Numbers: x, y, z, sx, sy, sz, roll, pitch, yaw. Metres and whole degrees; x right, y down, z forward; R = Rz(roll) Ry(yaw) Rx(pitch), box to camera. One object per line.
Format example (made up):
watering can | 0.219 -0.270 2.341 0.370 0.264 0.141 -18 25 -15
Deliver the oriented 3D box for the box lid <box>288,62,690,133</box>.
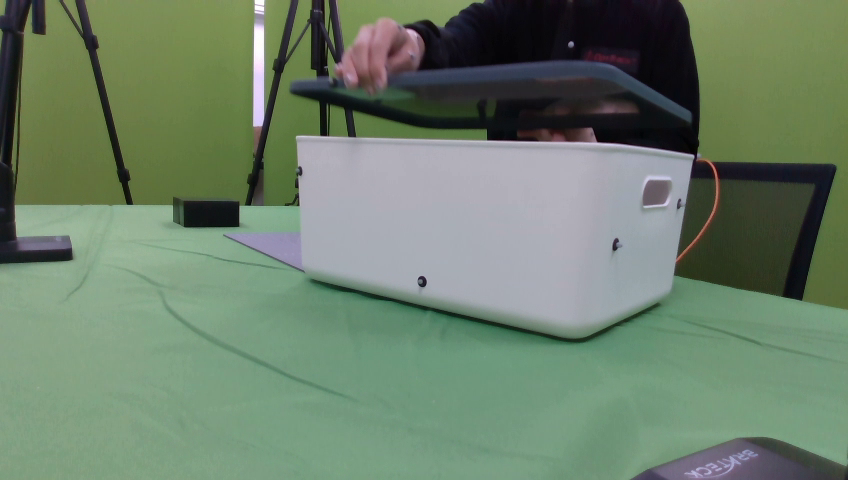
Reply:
box lid | 0.062 -0.141 0.644 0.369 0.015 0.265 9 4 38

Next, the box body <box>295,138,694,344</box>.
box body | 0.065 -0.020 0.653 0.362 0.160 0.255 9 9 36

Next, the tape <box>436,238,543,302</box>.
tape | 0.073 0.030 0.658 0.117 0.052 0.117 3 8 0
